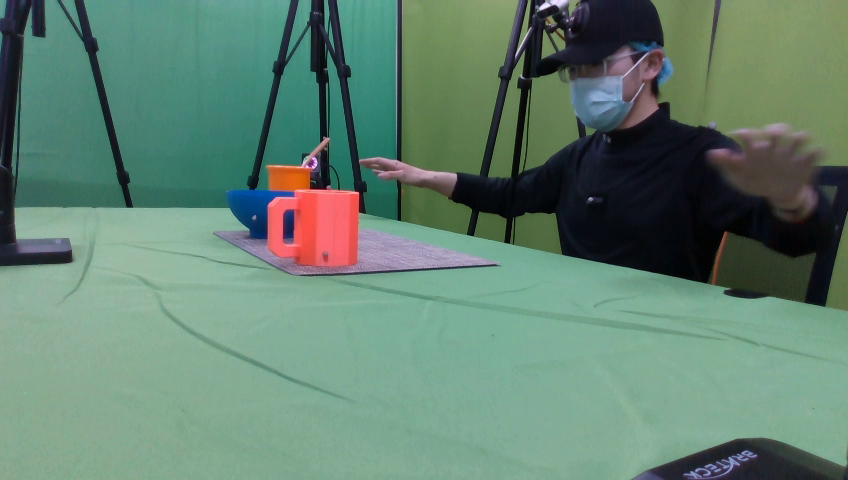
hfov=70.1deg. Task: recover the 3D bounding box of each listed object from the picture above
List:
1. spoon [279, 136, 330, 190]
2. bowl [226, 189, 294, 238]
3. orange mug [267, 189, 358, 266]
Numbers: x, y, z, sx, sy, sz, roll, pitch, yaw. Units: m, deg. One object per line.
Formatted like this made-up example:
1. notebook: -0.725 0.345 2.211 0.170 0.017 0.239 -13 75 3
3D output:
1. spoon: -0.245 -0.150 1.234 0.041 0.194 0.022 8 -35 33
2. bowl: -0.264 -0.046 1.050 0.151 0.077 0.151 2 7 0
3. orange mug: -0.145 -0.019 0.797 0.127 0.100 0.083 2 6 -37
